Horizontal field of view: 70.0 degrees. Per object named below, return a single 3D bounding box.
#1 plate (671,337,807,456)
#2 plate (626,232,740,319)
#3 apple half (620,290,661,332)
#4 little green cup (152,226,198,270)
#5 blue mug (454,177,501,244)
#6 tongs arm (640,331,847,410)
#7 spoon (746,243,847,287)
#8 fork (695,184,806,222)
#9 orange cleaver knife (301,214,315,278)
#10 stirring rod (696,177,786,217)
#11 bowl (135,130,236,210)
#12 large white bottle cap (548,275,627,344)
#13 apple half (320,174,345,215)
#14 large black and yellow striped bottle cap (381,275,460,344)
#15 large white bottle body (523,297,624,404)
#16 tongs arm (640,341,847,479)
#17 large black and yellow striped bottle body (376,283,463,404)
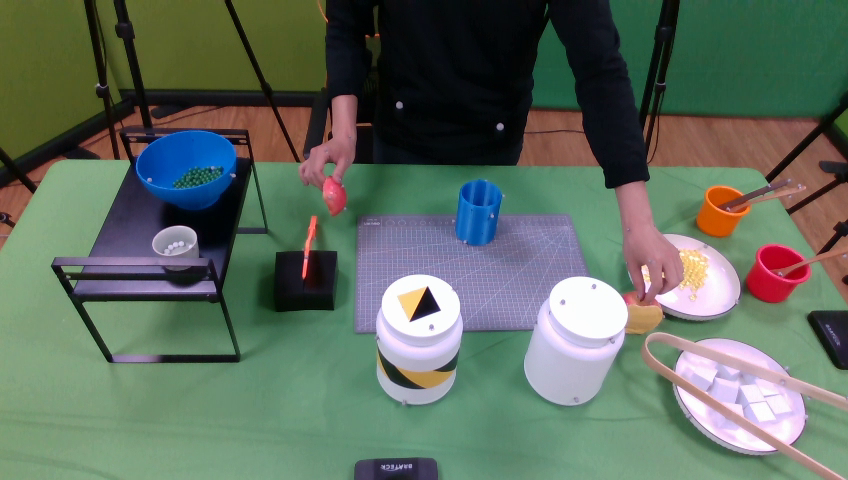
[{"bbox_3d":[0.504,0.254,0.984,0.208,0.039,0.206,2,46,-2],"label":"plate"},{"bbox_3d":[0.489,0.070,1.156,0.209,0.038,0.208,3,46,-2],"label":"plate"},{"bbox_3d":[0.372,0.121,1.075,0.081,0.075,0.053,0,37,1],"label":"apple half"},{"bbox_3d":[-0.364,0.013,0.894,0.061,0.039,0.061,3,46,-3],"label":"little green cup"},{"bbox_3d":[0.106,-0.067,1.208,0.082,0.106,0.116,5,46,1],"label":"blue mug"},{"bbox_3d":[0.543,0.226,0.969,0.384,0.026,0.050,22,52,13],"label":"tongs arm"},{"bbox_3d":[0.702,0.044,1.126,0.194,0.022,0.041,-29,38,30],"label":"spoon"},{"bbox_3d":[0.658,-0.074,1.229,0.207,0.019,0.028,-24,34,36],"label":"fork"},{"bbox_3d":[-0.218,0.007,1.131,0.012,0.077,0.210,7,19,-9],"label":"orange cleaver knife"},{"bbox_3d":[0.648,-0.087,1.244,0.176,0.006,0.014,-25,51,29],"label":"stirring rod"},{"bbox_3d":[-0.375,-0.102,0.978,0.151,0.077,0.150,2,46,-2],"label":"bowl"},{"bbox_3d":[0.240,0.100,0.890,0.115,0.018,0.114,3,47,-3],"label":"large white bottle cap"},{"bbox_3d":[-0.169,-0.092,1.168,0.033,0.082,0.081,-3,45,15],"label":"apple half"},{"bbox_3d":[-0.005,0.098,0.875,0.115,0.019,0.114,2,45,-1],"label":"large black and yellow striped bottle cap"},{"bbox_3d":[0.235,0.159,0.952,0.131,0.185,0.130,2,47,-2],"label":"large white bottle body"},{"bbox_3d":[0.500,0.278,0.919,0.386,0.028,0.028,34,59,22],"label":"tongs arm"},{"bbox_3d":[-0.010,0.155,0.937,0.131,0.185,0.130,2,47,-2],"label":"large black and yellow striped bottle body"}]
